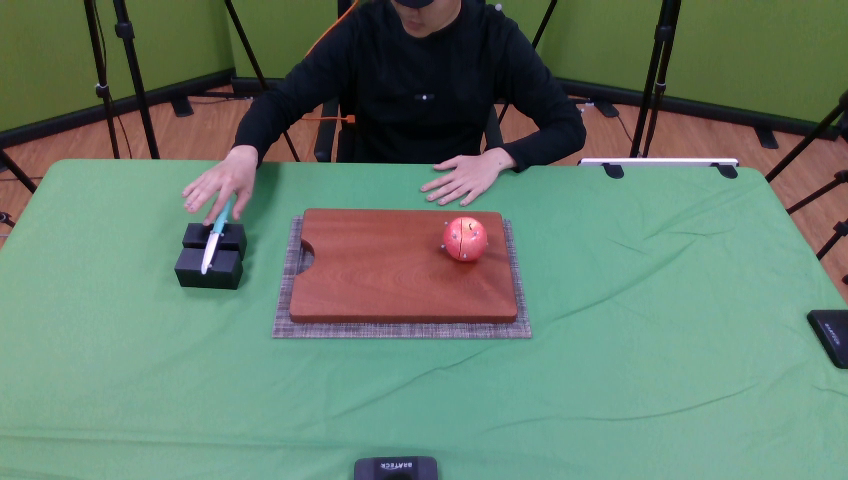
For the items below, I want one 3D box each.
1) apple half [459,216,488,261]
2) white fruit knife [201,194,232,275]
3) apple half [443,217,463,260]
[{"bbox_3d":[0.091,0.000,1.126,0.053,0.075,0.080,5,42,-5],"label":"apple half"},{"bbox_3d":[-0.383,-0.015,1.119,0.027,0.016,0.206,-20,45,19],"label":"white fruit knife"},{"bbox_3d":[0.052,-0.001,1.123,0.033,0.081,0.081,3,46,-3],"label":"apple half"}]
